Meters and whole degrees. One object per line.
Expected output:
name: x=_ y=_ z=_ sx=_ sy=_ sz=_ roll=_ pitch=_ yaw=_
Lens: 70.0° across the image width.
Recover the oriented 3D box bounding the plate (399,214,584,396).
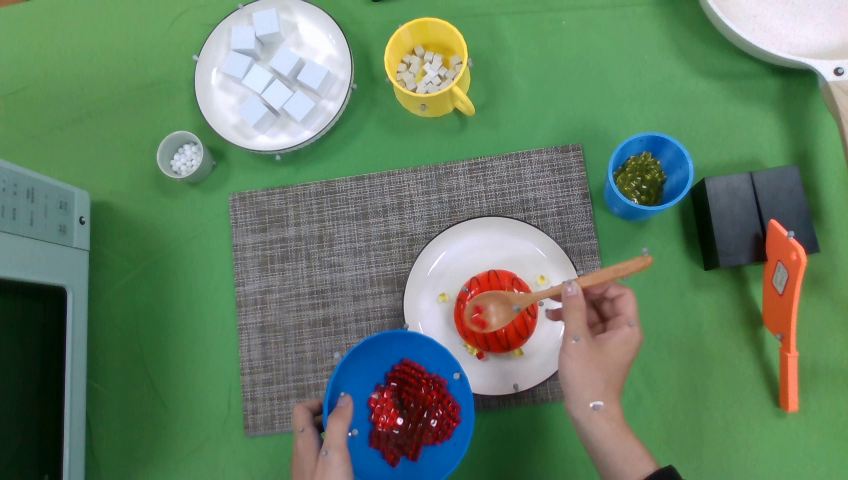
plate: x=0.078 y=0.074 z=0.704 sx=0.209 sy=0.038 sz=0.208 roll=-1 pitch=82 yaw=7

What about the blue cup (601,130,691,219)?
blue cup: x=0.238 y=-0.064 z=0.677 sx=0.092 sy=0.100 sz=0.092 roll=-1 pitch=80 yaw=6

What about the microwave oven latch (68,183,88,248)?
microwave oven latch: x=-0.446 y=-0.030 z=0.765 sx=0.030 sy=0.029 sz=0.079 roll=-2 pitch=82 yaw=6

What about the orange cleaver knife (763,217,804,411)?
orange cleaver knife: x=0.381 y=0.081 z=0.649 sx=0.012 sy=0.077 sz=0.212 roll=-8 pitch=109 yaw=6

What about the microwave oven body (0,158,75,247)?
microwave oven body: x=-0.592 y=0.141 z=0.659 sx=0.326 sy=0.261 sz=0.440 roll=-5 pitch=82 yaw=6

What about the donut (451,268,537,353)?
donut: x=0.079 y=0.081 z=0.691 sx=0.099 sy=0.048 sz=0.099 roll=-1 pitch=85 yaw=7

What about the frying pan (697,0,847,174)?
frying pan: x=0.452 y=-0.233 z=0.676 sx=0.306 sy=0.103 sz=0.485 roll=-3 pitch=73 yaw=7

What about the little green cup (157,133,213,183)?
little green cup: x=-0.304 y=-0.103 z=0.777 sx=0.061 sy=0.039 sz=0.061 roll=-1 pitch=82 yaw=5

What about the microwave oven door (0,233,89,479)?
microwave oven door: x=-0.446 y=0.170 z=0.633 sx=0.039 sy=0.245 sz=0.354 roll=-5 pitch=81 yaw=6

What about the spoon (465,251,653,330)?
spoon: x=0.123 y=0.048 z=0.579 sx=0.193 sy=0.022 sz=0.041 roll=-22 pitch=84 yaw=33

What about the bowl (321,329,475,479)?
bowl: x=-0.034 y=0.169 z=0.600 sx=0.152 sy=0.077 sz=0.150 roll=8 pitch=69 yaw=-21

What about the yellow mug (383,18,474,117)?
yellow mug: x=0.014 y=-0.200 z=0.742 sx=0.100 sy=0.064 sz=0.130 roll=-44 pitch=80 yaw=-2

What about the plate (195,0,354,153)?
plate: x=-0.189 y=-0.210 z=0.782 sx=0.207 sy=0.039 sz=0.207 roll=-1 pitch=81 yaw=7
